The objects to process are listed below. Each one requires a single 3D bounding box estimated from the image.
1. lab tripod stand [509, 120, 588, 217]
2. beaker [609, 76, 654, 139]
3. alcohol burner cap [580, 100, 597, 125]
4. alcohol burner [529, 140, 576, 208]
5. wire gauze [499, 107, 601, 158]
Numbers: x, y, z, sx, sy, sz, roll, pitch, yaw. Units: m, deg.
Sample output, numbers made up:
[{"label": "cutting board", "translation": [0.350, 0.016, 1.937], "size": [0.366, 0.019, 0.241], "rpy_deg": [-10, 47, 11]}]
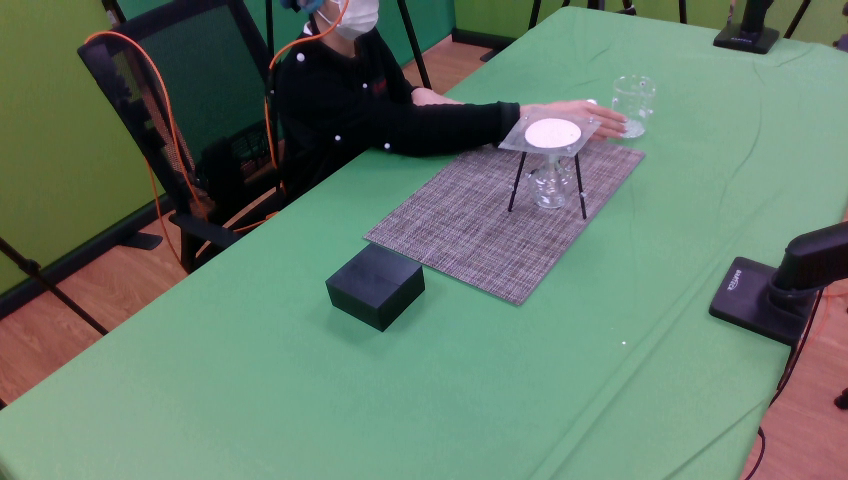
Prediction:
[{"label": "lab tripod stand", "translation": [0.207, -0.114, 0.983], "size": [0.148, 0.132, 0.147], "rpy_deg": [-5, 42, 5]}, {"label": "beaker", "translation": [0.393, -0.248, 1.144], "size": [0.074, 0.101, 0.083], "rpy_deg": [-32, 47, -24]}, {"label": "alcohol burner cap", "translation": [0.331, -0.258, 1.210], "size": [0.034, 0.048, 0.033], "rpy_deg": [-4, 41, 4]}, {"label": "alcohol burner", "translation": [0.211, -0.112, 0.995], "size": [0.078, 0.119, 0.077], "rpy_deg": [-6, 41, 6]}, {"label": "wire gauze", "translation": [0.198, -0.168, 0.943], "size": [0.120, 0.011, 0.125], "rpy_deg": [17, 47, 27]}]
